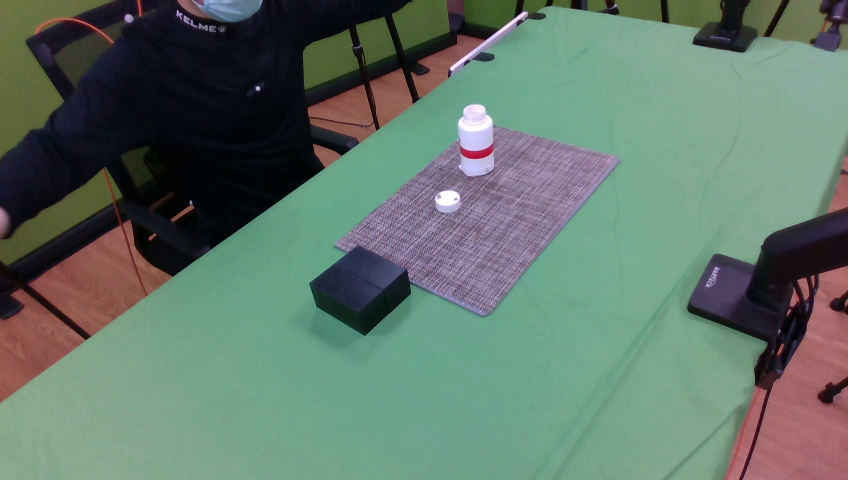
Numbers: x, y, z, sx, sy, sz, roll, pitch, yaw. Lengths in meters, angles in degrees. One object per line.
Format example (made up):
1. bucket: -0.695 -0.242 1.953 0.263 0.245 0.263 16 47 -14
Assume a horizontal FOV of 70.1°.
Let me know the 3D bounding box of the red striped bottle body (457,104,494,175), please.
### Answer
1. red striped bottle body: 0.093 -0.182 1.085 0.063 0.120 0.062 -4 41 4

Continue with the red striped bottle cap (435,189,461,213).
1. red striped bottle cap: 0.042 -0.068 1.040 0.044 0.018 0.044 -5 46 6
